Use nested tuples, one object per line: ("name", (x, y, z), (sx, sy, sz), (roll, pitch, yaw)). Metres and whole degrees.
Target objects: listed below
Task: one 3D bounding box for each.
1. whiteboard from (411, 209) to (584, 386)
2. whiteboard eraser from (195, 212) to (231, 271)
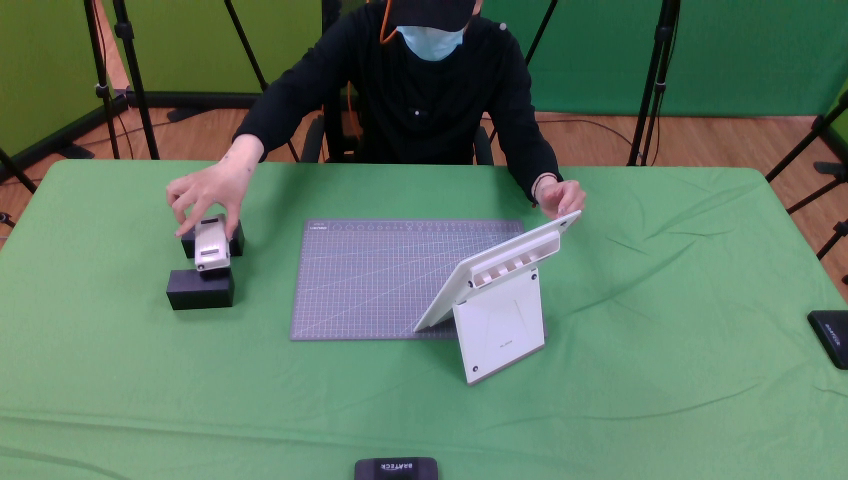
("whiteboard", (0.134, 0.110, 0.944), (0.217, 0.306, 0.143), (-21, 72, -22))
("whiteboard eraser", (-0.377, 0.004, 1.082), (0.055, 0.042, 0.112), (-10, 52, -10))
